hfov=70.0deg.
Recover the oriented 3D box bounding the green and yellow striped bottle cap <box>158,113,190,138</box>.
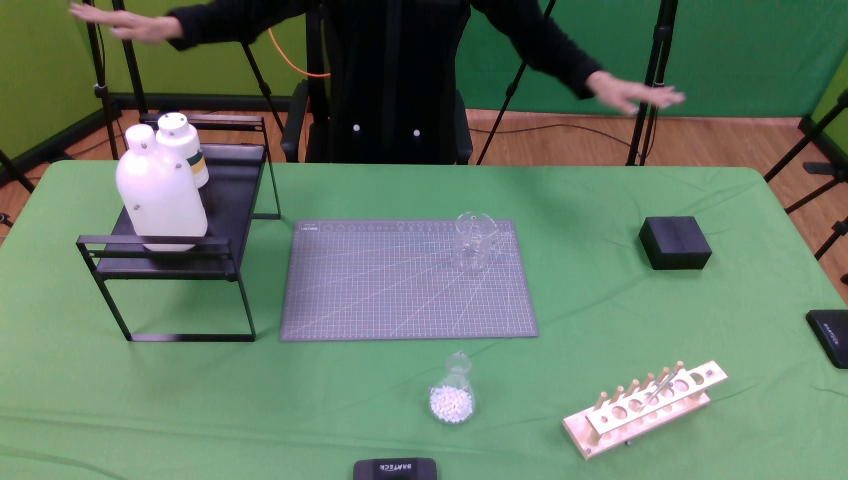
[{"bbox_3d":[-0.393,-0.180,0.951,0.045,0.020,0.045,2,44,-2],"label":"green and yellow striped bottle cap"}]

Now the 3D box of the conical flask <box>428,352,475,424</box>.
[{"bbox_3d":[0.046,0.220,0.920,0.075,0.122,0.075,2,46,-2],"label":"conical flask"}]

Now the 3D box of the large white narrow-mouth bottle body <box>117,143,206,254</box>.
[{"bbox_3d":[-0.383,-0.076,0.874,0.102,0.195,0.101,3,45,-3],"label":"large white narrow-mouth bottle body"}]

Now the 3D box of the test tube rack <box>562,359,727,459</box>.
[{"bbox_3d":[0.341,0.247,0.940,0.243,0.085,0.066,-16,49,-18],"label":"test tube rack"}]

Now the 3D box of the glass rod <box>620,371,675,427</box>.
[{"bbox_3d":[0.316,0.230,0.863,0.008,0.200,0.008,3,54,-3],"label":"glass rod"}]

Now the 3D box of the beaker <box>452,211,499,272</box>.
[{"bbox_3d":[0.093,0.006,1.141,0.084,0.101,0.073,8,46,3],"label":"beaker"}]

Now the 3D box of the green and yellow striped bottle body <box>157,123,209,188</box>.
[{"bbox_3d":[-0.395,-0.145,0.989,0.063,0.120,0.063,2,46,-2],"label":"green and yellow striped bottle body"}]

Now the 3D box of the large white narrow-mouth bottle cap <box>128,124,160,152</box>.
[{"bbox_3d":[-0.375,-0.137,0.811,0.038,0.024,0.037,3,45,-3],"label":"large white narrow-mouth bottle cap"}]
